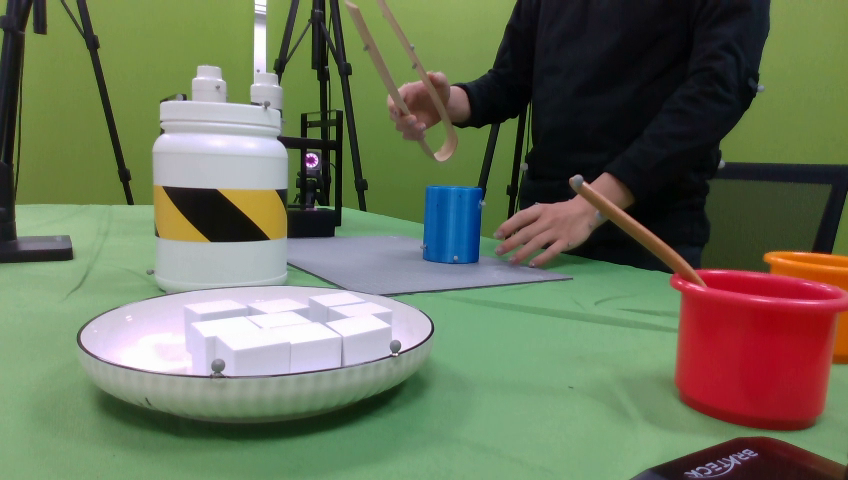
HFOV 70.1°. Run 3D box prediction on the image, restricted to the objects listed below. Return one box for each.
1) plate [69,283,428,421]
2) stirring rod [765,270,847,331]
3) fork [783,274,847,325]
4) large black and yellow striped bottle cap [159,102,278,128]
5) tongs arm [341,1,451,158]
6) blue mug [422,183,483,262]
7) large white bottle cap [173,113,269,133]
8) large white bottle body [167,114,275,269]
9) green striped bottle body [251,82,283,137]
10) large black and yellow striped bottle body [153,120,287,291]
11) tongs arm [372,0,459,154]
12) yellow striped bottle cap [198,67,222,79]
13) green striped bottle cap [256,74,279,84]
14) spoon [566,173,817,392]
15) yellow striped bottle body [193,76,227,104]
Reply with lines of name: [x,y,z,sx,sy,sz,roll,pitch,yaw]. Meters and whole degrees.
plate: [-0.102,0.066,0.381,0.208,0.039,0.207,2,7,0]
stirring rod: [0.352,0.020,0.484,0.176,0.006,0.014,-40,-7,13]
fork: [0.332,0.018,0.443,0.028,0.018,0.207,-1,-36,-15]
large black and yellow striped bottle cap: [-0.207,-0.125,0.615,0.115,0.019,0.115,2,6,0]
tongs arm: [-0.030,-0.215,0.894,0.027,0.028,0.389,30,-8,27]
blue mug: [0.032,-0.028,0.877,0.083,0.106,0.116,-2,8,-31]
large white bottle cap: [-0.254,-0.146,0.760,0.115,0.018,0.115,1,7,0]
large white bottle body: [-0.256,-0.063,0.771,0.131,0.184,0.130,2,7,0]
green striped bottle body: [-0.317,-0.270,1.220,0.063,0.119,0.063,2,7,0]
large black and yellow striped bottle body: [-0.208,-0.042,0.626,0.131,0.184,0.130,2,7,0]
tongs arm: [-0.015,-0.234,0.896,0.026,0.051,0.386,34,-3,28]
yellow striped bottle cap: [-0.411,-0.320,1.163,0.044,0.018,0.044,1,6,0]
green striped bottle cap: [-0.314,-0.322,1.214,0.044,0.020,0.044,1,8,0]
spoon: [0.161,0.024,0.370,0.193,0.021,0.042,47,18,3]
yellow striped bottle body: [-0.414,-0.268,1.169,0.063,0.120,0.063,2,7,0]
